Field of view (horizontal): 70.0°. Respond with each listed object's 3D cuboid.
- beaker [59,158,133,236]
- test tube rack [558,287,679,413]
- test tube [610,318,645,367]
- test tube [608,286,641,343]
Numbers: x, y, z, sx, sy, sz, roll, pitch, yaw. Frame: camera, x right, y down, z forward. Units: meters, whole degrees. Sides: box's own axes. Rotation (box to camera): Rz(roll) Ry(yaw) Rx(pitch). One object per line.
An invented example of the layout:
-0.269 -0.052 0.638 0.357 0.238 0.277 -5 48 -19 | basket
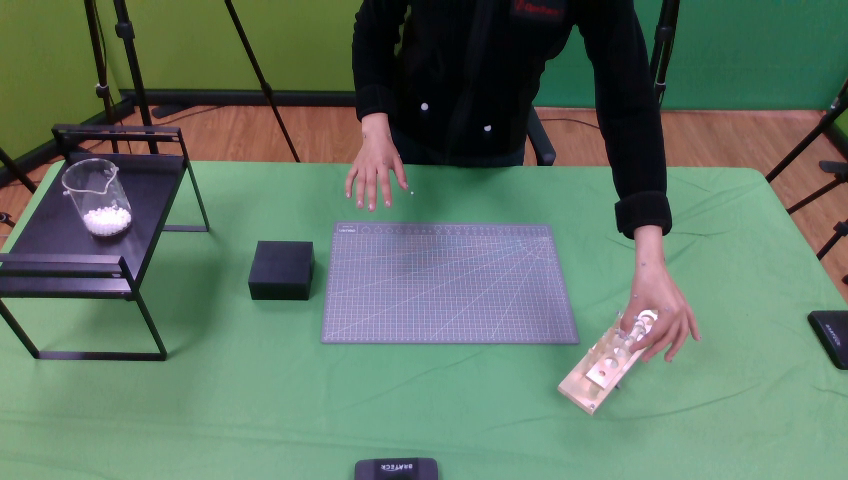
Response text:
-0.488 -0.060 0.914 0.074 0.101 0.083 -35 58 -31 | beaker
0.326 0.170 1.009 0.066 0.085 0.242 36 54 26 | test tube rack
0.311 0.163 0.930 0.017 0.151 0.017 0 53 0 | test tube
0.325 0.124 0.991 0.017 0.151 0.017 2 49 -2 | test tube
